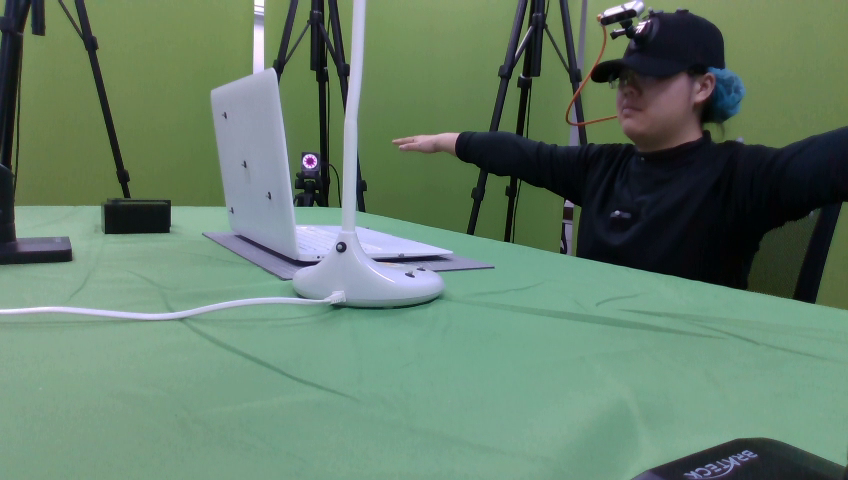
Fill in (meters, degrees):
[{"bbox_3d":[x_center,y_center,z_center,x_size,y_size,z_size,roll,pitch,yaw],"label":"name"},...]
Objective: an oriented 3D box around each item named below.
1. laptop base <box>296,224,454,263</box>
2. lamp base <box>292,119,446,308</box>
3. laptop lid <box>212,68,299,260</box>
[{"bbox_3d":[-0.143,0.003,0.957,0.237,0.023,0.352,2,7,-32],"label":"laptop base"},{"bbox_3d":[-0.056,-0.030,0.616,0.160,0.180,0.179,3,10,8],"label":"lamp base"},{"bbox_3d":[-0.254,-0.111,0.872,0.013,0.241,0.355,-11,14,-30],"label":"laptop lid"}]
